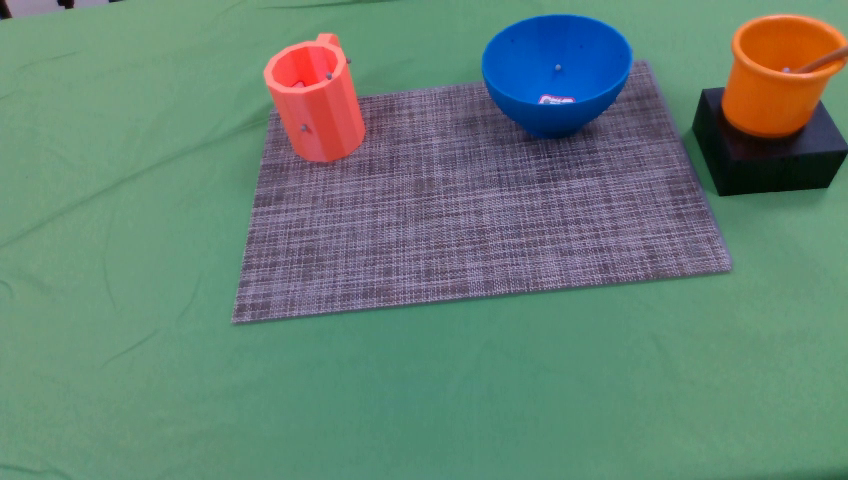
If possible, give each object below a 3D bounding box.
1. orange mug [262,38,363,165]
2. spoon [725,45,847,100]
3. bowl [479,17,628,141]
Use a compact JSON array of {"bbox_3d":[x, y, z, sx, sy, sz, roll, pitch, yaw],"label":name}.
[{"bbox_3d":[-0.116,-0.161,0.670,0.083,0.102,0.125,4,58,12],"label":"orange mug"},{"bbox_3d":[0.336,-0.148,0.498,0.041,0.193,0.022,-36,99,-21],"label":"spoon"},{"bbox_3d":[0.134,-0.159,0.643,0.151,0.077,0.150,-4,52,5],"label":"bowl"}]
